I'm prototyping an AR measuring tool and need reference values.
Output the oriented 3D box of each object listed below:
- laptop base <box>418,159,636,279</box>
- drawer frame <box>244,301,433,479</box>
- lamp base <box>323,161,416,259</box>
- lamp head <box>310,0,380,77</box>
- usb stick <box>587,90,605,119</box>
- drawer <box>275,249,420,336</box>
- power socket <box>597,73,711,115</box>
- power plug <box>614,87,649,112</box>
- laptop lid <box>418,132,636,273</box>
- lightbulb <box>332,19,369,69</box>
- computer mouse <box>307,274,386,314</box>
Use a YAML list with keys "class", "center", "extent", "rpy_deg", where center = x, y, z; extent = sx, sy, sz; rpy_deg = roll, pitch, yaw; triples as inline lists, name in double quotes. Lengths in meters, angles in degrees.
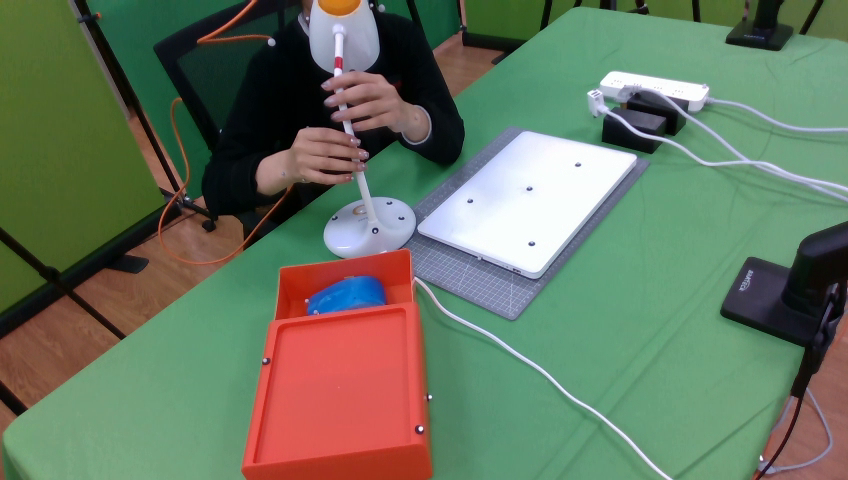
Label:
- class: "laptop base"
  center: [0.185, -0.074, 1.042]
  extent: [0.233, 0.023, 0.355]
  rpy_deg: [19, 48, 35]
- class: "drawer frame"
  center: [-0.096, 0.185, 0.739]
  extent: [0.202, 0.083, 0.212]
  rpy_deg: [-8, 40, 1]
- class: "lamp base"
  center: [-0.098, -0.074, 0.969]
  extent: [0.161, 0.181, 0.177]
  rpy_deg: [-23, 43, -14]
- class: "lamp head"
  center: [-0.125, -0.327, 0.927]
  extent: [0.112, 0.123, 0.112]
  rpy_deg: [1, 72, -2]
- class: "usb stick"
  center: [0.334, -0.258, 1.170]
  extent: [0.021, 0.059, 0.027]
  rpy_deg: [-28, 44, -5]
- class: "drawer"
  center: [-0.104, 0.116, 0.826]
  extent: [0.194, 0.073, 0.210]
  rpy_deg: [-8, 40, 0]
- class: "power socket"
  center: [0.469, -0.304, 1.249]
  extent: [0.225, 0.033, 0.072]
  rpy_deg: [20, 49, 30]
- class: "power plug"
  center: [0.406, -0.275, 1.192]
  extent: [0.035, 0.053, 0.072]
  rpy_deg: [-16, 24, -15]
- class: "laptop lid"
  center: [0.181, -0.084, 1.036]
  extent: [0.239, 0.013, 0.358]
  rpy_deg: [22, 49, 35]
- class: "lightbulb"
  center: [-0.117, -0.311, 0.950]
  extent: [0.059, 0.108, 0.059]
  rpy_deg: [1, 79, -2]
- class: "computer mouse"
  center: [-0.114, 0.088, 0.882]
  extent: [0.117, 0.041, 0.062]
  rpy_deg: [-17, 43, -1]
